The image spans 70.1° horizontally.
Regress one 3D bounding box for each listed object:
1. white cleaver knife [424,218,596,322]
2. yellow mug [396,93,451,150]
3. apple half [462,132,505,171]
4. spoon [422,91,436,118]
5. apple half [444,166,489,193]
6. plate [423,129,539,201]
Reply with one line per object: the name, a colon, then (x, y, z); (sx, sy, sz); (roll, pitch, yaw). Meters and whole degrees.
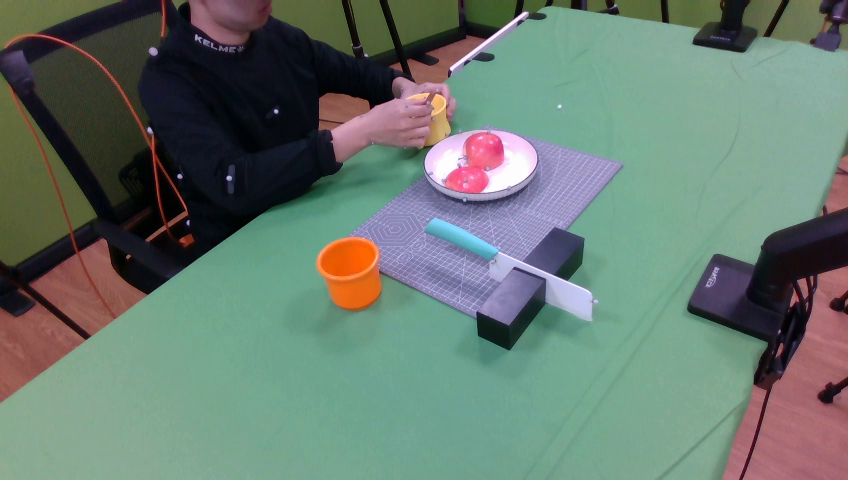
white cleaver knife: (0.114, 0.042, 0.865); (0.284, 0.066, 0.021); (27, 47, 28)
yellow mug: (-0.003, -0.230, 1.201); (0.099, 0.064, 0.130); (-1, 44, 16)
apple half: (0.109, -0.169, 1.110); (0.075, 0.053, 0.080); (-6, 40, -2)
spoon: (0.005, -0.244, 1.139); (0.042, 0.194, 0.021); (-23, 83, -6)
apple half: (0.074, -0.112, 1.062); (0.081, 0.033, 0.081); (-6, 39, 5)
plate: (0.103, -0.132, 1.092); (0.209, 0.038, 0.208); (-4, 40, 4)
